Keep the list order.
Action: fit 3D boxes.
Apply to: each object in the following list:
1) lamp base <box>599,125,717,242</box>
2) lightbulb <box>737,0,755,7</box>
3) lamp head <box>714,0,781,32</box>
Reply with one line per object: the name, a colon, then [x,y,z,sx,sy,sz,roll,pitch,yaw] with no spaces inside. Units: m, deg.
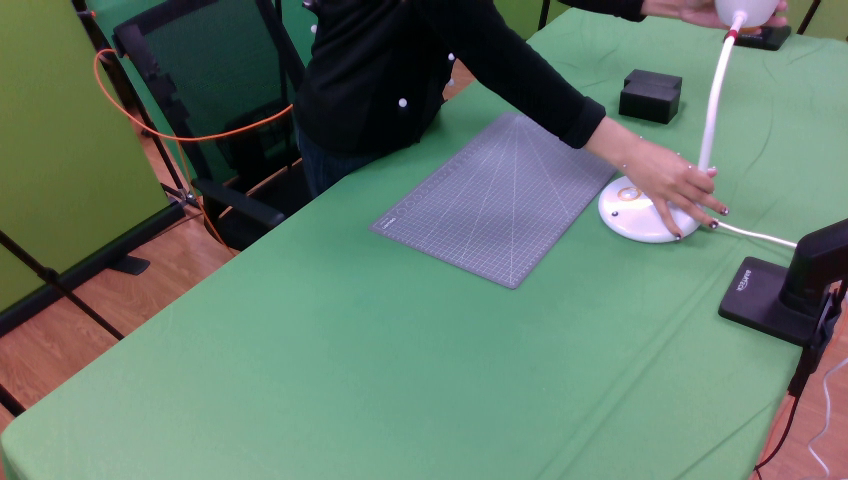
lamp base: [0.365,-0.108,0.914,0.178,0.181,0.160,14,49,21]
lightbulb: [0.462,-0.385,0.862,0.059,0.108,0.059,-13,43,13]
lamp head: [0.469,-0.364,0.874,0.112,0.123,0.112,-8,40,7]
